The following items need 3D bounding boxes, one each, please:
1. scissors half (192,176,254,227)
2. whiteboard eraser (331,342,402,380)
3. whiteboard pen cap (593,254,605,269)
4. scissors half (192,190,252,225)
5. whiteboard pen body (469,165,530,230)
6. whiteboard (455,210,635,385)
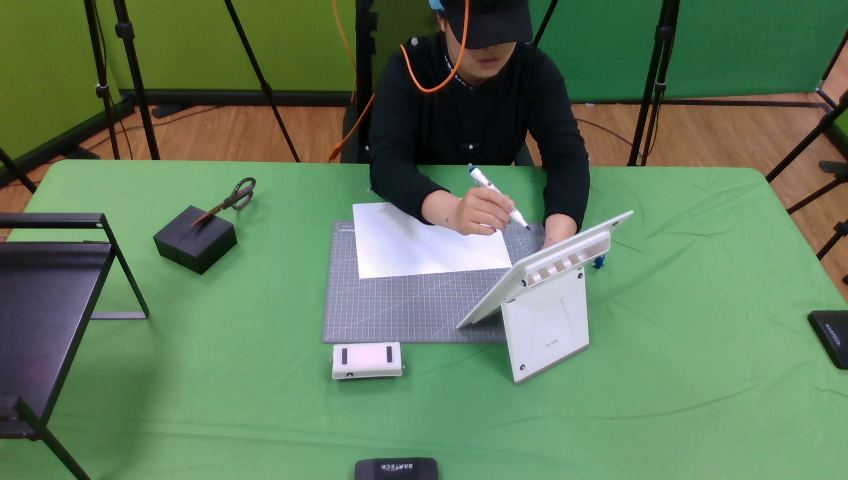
[{"bbox_3d":[-0.388,-0.075,1.174,0.013,0.040,0.174,29,47,8],"label":"scissors half"},{"bbox_3d":[-0.094,0.198,0.986,0.113,0.042,0.055,-2,44,-6],"label":"whiteboard eraser"},{"bbox_3d":[0.340,0.041,1.179,0.018,0.033,0.018,1,46,-1],"label":"whiteboard pen cap"},{"bbox_3d":[-0.393,-0.060,1.187,0.013,0.040,0.175,25,29,12],"label":"scissors half"},{"bbox_3d":[0.125,-0.068,0.991,0.140,0.017,0.017,47,56,5],"label":"whiteboard pen body"},{"bbox_3d":[0.210,0.111,0.955,0.217,0.306,0.143,-21,72,-23],"label":"whiteboard"}]
